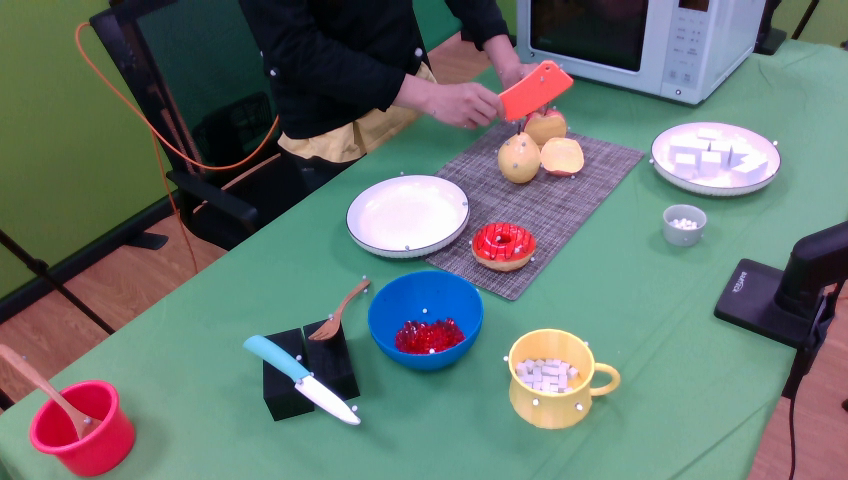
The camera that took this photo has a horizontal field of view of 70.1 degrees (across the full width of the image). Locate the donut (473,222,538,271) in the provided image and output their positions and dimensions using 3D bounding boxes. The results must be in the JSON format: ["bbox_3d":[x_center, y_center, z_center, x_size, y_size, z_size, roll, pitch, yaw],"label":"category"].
[{"bbox_3d":[0.123,0.009,0.923,0.099,0.048,0.098,-3,38,3],"label":"donut"}]

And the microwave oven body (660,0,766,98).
[{"bbox_3d":[0.472,-0.513,1.317,0.438,0.261,0.327,26,51,34],"label":"microwave oven body"}]

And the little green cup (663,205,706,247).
[{"bbox_3d":[0.396,-0.020,0.926,0.061,0.039,0.061,-4,40,4],"label":"little green cup"}]

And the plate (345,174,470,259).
[{"bbox_3d":[-0.026,-0.037,1.004,0.209,0.038,0.208,-4,40,4],"label":"plate"}]

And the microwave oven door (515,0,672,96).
[{"bbox_3d":[0.343,-0.455,1.259,0.353,0.245,0.039,26,51,33],"label":"microwave oven door"}]

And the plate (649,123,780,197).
[{"bbox_3d":[0.497,-0.135,1.046,0.207,0.039,0.206,-4,40,4],"label":"plate"}]

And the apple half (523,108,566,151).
[{"bbox_3d":[0.227,-0.213,1.145,0.081,0.075,0.053,-7,34,7],"label":"apple half"}]

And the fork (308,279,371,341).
[{"bbox_3d":[-0.109,0.093,0.832,0.028,0.018,0.207,-4,19,15],"label":"fork"}]

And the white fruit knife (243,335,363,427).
[{"bbox_3d":[-0.148,0.167,0.729,0.206,0.016,0.027,27,80,31],"label":"white fruit knife"}]

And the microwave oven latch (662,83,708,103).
[{"bbox_3d":[0.517,-0.296,1.204,0.078,0.029,0.030,27,52,35],"label":"microwave oven latch"}]

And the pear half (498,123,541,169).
[{"bbox_3d":[0.168,-0.163,1.068,0.076,0.110,0.055,-4,41,-1],"label":"pear half"}]

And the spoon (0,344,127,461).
[{"bbox_3d":[-0.433,0.191,0.721,0.194,0.021,0.042,47,53,-6],"label":"spoon"}]

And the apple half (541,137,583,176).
[{"bbox_3d":[0.247,-0.146,1.090,0.081,0.033,0.081,-2,64,4],"label":"apple half"}]

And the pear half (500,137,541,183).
[{"bbox_3d":[0.169,-0.133,1.047,0.070,0.088,0.031,-3,40,-2],"label":"pear half"}]

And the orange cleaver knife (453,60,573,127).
[{"bbox_3d":[0.150,-0.237,1.043,0.210,0.078,0.012,-25,38,25],"label":"orange cleaver knife"}]

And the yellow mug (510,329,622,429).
[{"bbox_3d":[0.168,0.164,0.721,0.130,0.064,0.099,0,40,8],"label":"yellow mug"}]

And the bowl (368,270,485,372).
[{"bbox_3d":[0.007,0.118,0.791,0.151,0.077,0.150,-5,40,4],"label":"bowl"}]
